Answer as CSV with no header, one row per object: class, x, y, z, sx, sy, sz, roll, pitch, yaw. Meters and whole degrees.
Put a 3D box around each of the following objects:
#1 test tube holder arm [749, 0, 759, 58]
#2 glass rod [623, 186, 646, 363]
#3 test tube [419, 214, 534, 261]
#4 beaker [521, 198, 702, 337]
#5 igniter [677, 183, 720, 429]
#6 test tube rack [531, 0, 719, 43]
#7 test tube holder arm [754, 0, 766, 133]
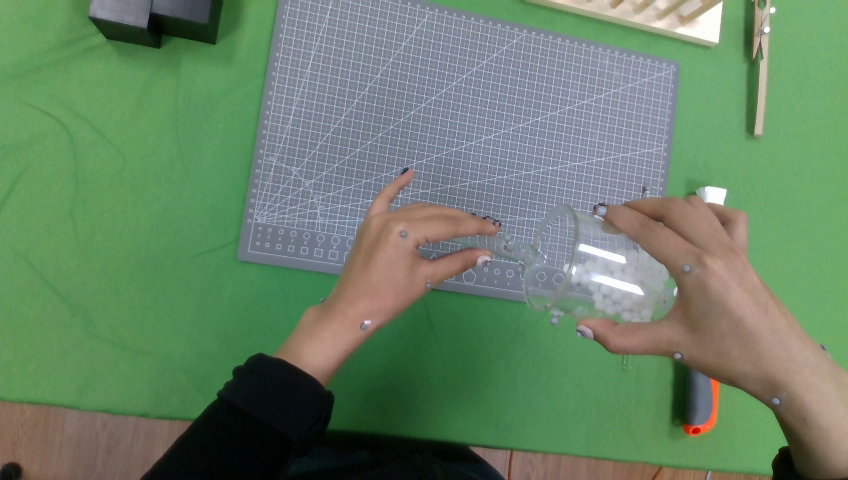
test tube holder arm,0.394,-0.262,0.721,0.010,0.015,0.087,1,88,25
glass rod,0.235,0.037,0.676,0.008,0.008,0.199,8,86,-11
test tube,0.038,-0.005,0.504,0.017,0.149,0.017,-7,104,-30
beaker,0.126,0.022,0.414,0.100,0.084,0.074,17,87,-11
igniter,0.312,0.073,0.684,0.057,0.025,0.276,6,86,-21
test tube rack,0.230,-0.286,0.654,0.243,0.085,0.066,9,85,-11
test tube holder arm,0.398,-0.217,0.717,0.013,0.015,0.178,0,87,25
